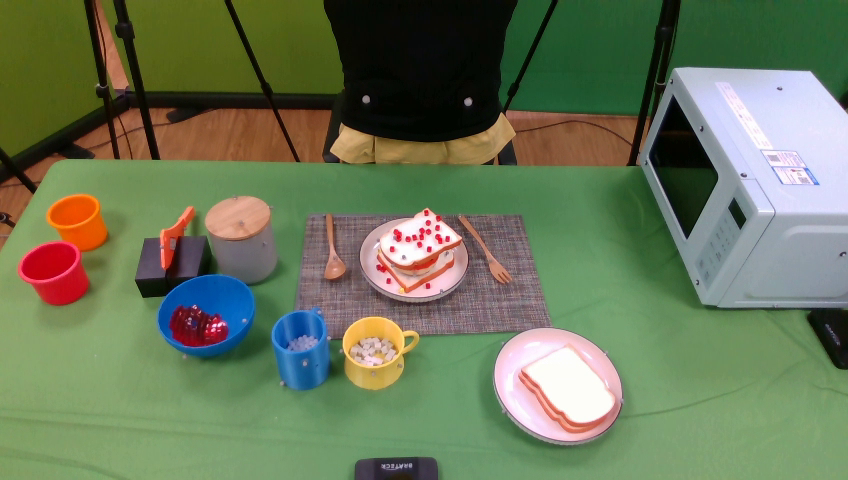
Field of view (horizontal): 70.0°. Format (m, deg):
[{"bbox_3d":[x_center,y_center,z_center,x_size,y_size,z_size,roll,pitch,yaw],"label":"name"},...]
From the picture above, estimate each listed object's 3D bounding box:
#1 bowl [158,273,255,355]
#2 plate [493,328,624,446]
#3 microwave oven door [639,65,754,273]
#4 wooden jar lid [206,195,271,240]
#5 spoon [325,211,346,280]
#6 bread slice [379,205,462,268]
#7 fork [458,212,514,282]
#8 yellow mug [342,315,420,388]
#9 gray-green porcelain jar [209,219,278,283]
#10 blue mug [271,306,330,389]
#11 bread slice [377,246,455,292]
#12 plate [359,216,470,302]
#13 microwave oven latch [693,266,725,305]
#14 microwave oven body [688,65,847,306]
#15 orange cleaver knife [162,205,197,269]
[{"bbox_3d":[-0.351,0.136,1.001,0.151,0.077,0.150,2,46,-2],"label":"bowl"},{"bbox_3d":[0.213,0.236,0.974,0.208,0.039,0.206,2,46,-2],"label":"plate"},{"bbox_3d":[0.522,-0.147,1.193,0.039,0.245,0.353,0,47,-3],"label":"microwave oven door"},{"bbox_3d":[-0.319,-0.036,1.046,0.108,0.021,0.107,1,44,0],"label":"wooden jar lid"},{"bbox_3d":[-0.177,0.006,1.170,0.041,0.022,0.192,-20,48,7],"label":"spoon"},{"bbox_3d":[-0.012,-0.001,1.097,0.134,0.018,0.106,-33,51,-23],"label":"bread slice"},{"bbox_3d":[0.116,0.011,1.188,0.028,0.019,0.206,-20,52,-14],"label":"fork"},{"bbox_3d":[-0.068,0.177,0.990,0.131,0.064,0.099,-15,50,-19],"label":"yellow mug"},{"bbox_3d":[-0.323,0.007,1.092,0.106,0.127,0.105,2,46,-1],"label":"gray-green porcelain jar"},{"bbox_3d":[-0.188,0.163,0.969,0.082,0.106,0.116,15,47,10],"label":"blue mug"},{"bbox_3d":[-0.010,0.033,1.149,0.131,0.019,0.104,-28,55,-25],"label":"bread slice"},{"bbox_3d":[-0.019,0.038,1.140,0.209,0.038,0.208,2,46,-2],"label":"plate"},{"bbox_3d":[0.523,0.081,1.115,0.030,0.029,0.078,3,46,0],"label":"microwave oven latch"},{"bbox_3d":[0.669,-0.111,1.176,0.326,0.261,0.439,0,46,-3],"label":"microwave oven body"},{"bbox_3d":[-0.454,-0.010,1.129,0.012,0.077,0.210,1,20,-6],"label":"orange cleaver knife"}]
